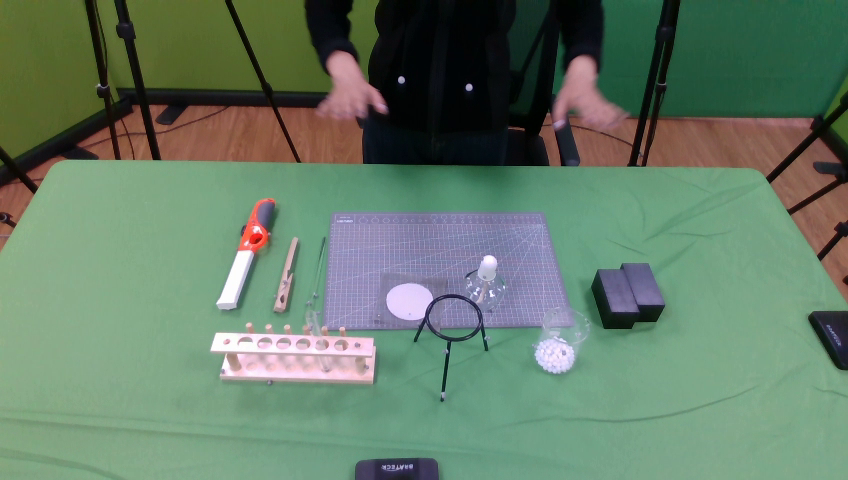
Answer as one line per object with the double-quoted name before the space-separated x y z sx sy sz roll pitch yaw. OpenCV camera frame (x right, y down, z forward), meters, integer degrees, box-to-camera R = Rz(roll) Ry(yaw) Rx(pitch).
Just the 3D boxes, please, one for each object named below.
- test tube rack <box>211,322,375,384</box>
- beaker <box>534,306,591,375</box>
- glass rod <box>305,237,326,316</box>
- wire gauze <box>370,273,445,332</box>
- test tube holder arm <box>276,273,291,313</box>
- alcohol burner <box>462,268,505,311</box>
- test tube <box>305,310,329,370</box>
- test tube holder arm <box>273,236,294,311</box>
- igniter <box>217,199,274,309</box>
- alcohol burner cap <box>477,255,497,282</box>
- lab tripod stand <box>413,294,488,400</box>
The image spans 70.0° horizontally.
"test tube rack" -0.203 0.176 0.969 0.242 0.085 0.066 3 46 -2
"beaker" 0.226 0.168 1.002 0.084 0.101 0.073 -5 47 -10
"glass rod" -0.202 0.063 1.131 0.008 0.008 0.198 4 44 0
"wire gauze" -0.028 0.108 1.100 0.125 0.011 0.121 7 45 4
"test tube holder arm" -0.254 0.093 1.094 0.010 0.015 0.087 29 38 -26
"alcohol burner" 0.108 0.071 1.072 0.078 0.119 0.077 4 45 -4
"test tube" -0.162 0.156 0.924 0.017 0.151 0.017 -1 48 1
"test tube holder arm" -0.259 0.059 1.123 0.013 0.015 0.177 28 39 -27
"igniter" -0.336 0.017 1.153 0.057 0.025 0.275 -2 45 8
"alcohol burner cap" 0.110 0.047 1.046 0.034 0.048 0.033 2 52 -2
"lab tripod stand" 0.044 0.159 0.972 0.148 0.132 0.147 2 44 -2
